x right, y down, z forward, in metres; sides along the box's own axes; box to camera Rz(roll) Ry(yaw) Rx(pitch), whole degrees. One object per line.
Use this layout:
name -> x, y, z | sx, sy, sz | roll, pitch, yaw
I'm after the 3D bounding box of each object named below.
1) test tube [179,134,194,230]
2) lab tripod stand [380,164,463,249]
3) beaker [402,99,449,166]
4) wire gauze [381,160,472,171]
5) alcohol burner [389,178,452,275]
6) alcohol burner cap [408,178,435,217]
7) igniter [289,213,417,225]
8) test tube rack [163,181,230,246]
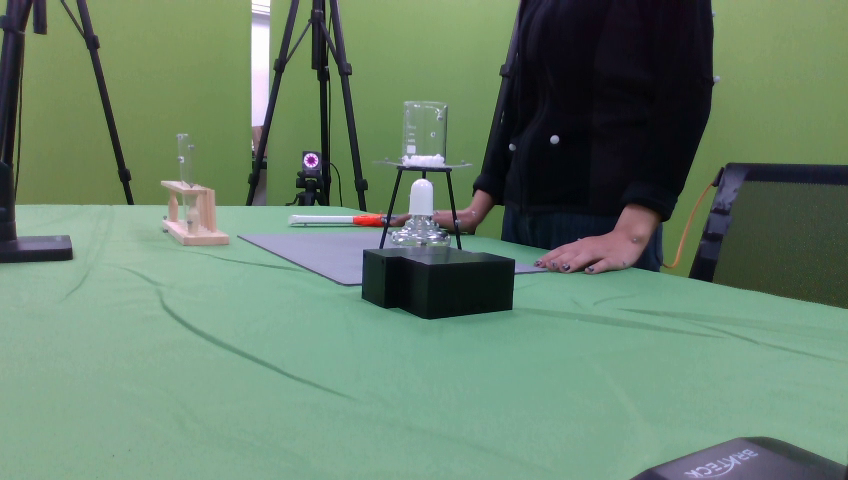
test tube -> -0.366, -0.089, 0.938 | 0.017, 0.150, 0.017 | -1, 9, 1
lab tripod stand -> -0.003, -0.055, 0.967 | 0.148, 0.131, 0.148 | 2, 9, 0
beaker -> 0.003, -0.168, 0.957 | 0.073, 0.100, 0.084 | 9, 10, 35
wire gauze -> -0.004, -0.120, 0.959 | 0.122, 0.011, 0.124 | -5, 13, -33
alcohol burner -> -0.004, -0.017, 0.749 | 0.078, 0.119, 0.078 | 1, 9, 0
alcohol burner cap -> -0.002, -0.053, 0.746 | 0.034, 0.048, 0.034 | 3, 3, 0
igniter -> -0.144, -0.044, 1.275 | 0.278, 0.025, 0.057 | -1, -2, -27
test tube rack -> -0.387, -0.050, 1.015 | 0.067, 0.085, 0.241 | -2, 9, -30
